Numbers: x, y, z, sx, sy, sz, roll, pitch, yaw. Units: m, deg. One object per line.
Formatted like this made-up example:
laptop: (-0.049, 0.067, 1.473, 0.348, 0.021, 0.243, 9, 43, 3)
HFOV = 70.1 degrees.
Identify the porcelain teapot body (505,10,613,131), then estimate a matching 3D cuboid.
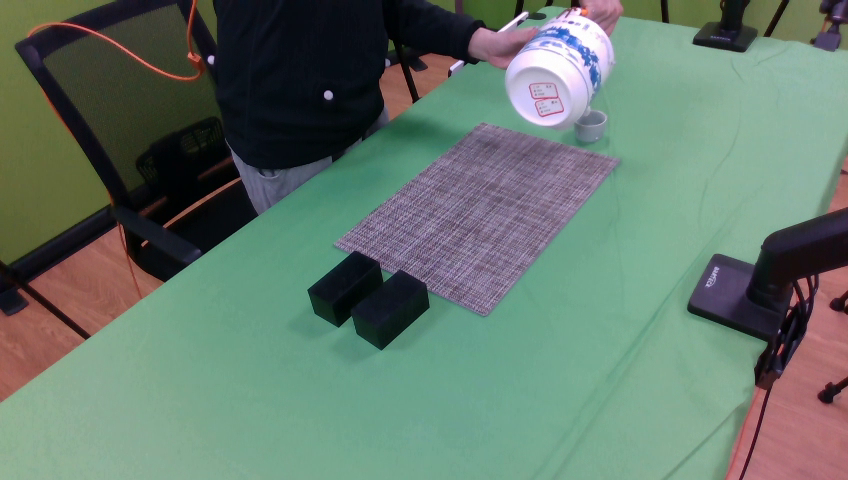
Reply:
porcelain teapot body: (0.250, -0.280, 1.047, 0.144, 0.206, 0.225, 13, 50, 33)

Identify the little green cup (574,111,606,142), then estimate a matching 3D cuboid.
little green cup: (0.318, -0.218, 1.164, 0.061, 0.039, 0.061, -3, 41, 3)

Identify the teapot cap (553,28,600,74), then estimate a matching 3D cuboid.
teapot cap: (0.265, -0.328, 1.048, 0.084, 0.085, 0.044, 18, 49, 27)
